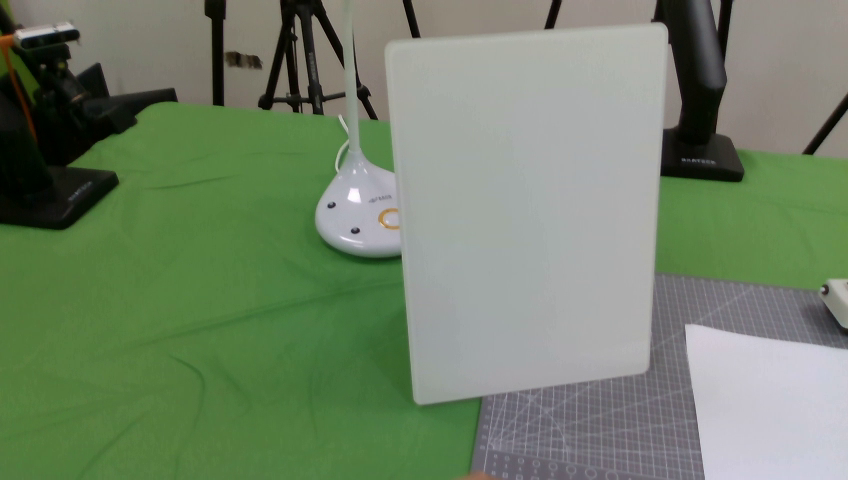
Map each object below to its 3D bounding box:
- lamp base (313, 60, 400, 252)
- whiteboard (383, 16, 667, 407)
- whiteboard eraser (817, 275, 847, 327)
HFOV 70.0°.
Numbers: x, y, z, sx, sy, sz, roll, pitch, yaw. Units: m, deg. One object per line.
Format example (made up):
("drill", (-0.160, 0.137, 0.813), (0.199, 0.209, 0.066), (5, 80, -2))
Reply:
("lamp base", (-0.063, -0.105, 0.702), (0.161, 0.182, 0.177), (-25, 41, -28))
("whiteboard", (0.079, -0.032, 0.552), (0.217, 0.307, 0.143), (-6, 19, -6))
("whiteboard eraser", (0.453, 0.062, 0.591), (0.112, 0.042, 0.055), (1, 39, 2))
